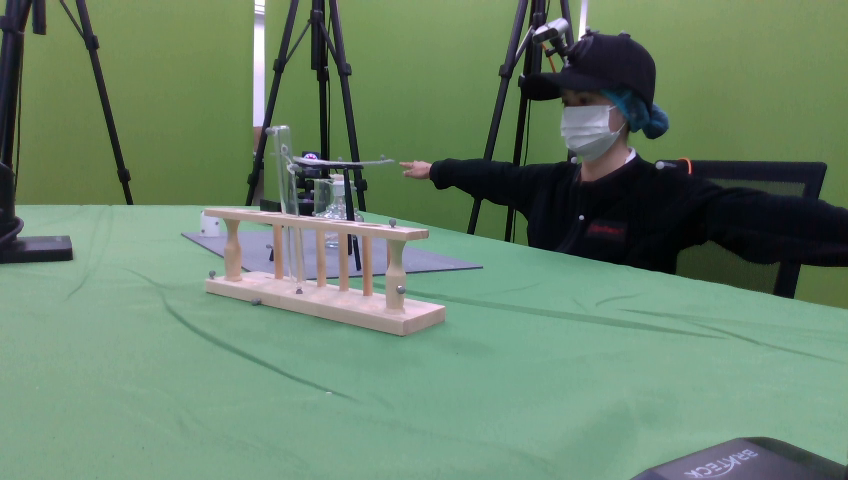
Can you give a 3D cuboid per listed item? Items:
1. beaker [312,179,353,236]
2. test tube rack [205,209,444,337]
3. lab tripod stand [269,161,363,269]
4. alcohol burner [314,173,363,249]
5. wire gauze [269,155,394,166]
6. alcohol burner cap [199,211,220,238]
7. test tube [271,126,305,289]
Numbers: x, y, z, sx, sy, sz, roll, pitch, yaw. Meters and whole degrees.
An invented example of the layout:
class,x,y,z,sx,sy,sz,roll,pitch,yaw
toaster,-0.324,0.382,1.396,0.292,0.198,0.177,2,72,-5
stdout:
class,x,y,z,sx,sy,sz,roll,pitch,yaw
beaker,-0.168,-0.060,1.104,0.074,0.100,0.083,1,8,-13
test tube rack,-0.100,0.021,0.565,0.241,0.085,0.067,7,8,32
lab tripod stand,-0.125,-0.036,0.794,0.148,0.131,0.148,5,7,0
alcohol burner,-0.135,-0.046,0.952,0.078,0.119,0.078,1,9,0
wire gauze,-0.121,-0.102,0.785,0.122,0.011,0.124,-3,10,-39
alcohol burner cap,-0.356,-0.027,1.002,0.034,0.048,0.034,2,7,0
test tube,-0.124,-0.028,0.554,0.017,0.150,0.017,-5,7,1
